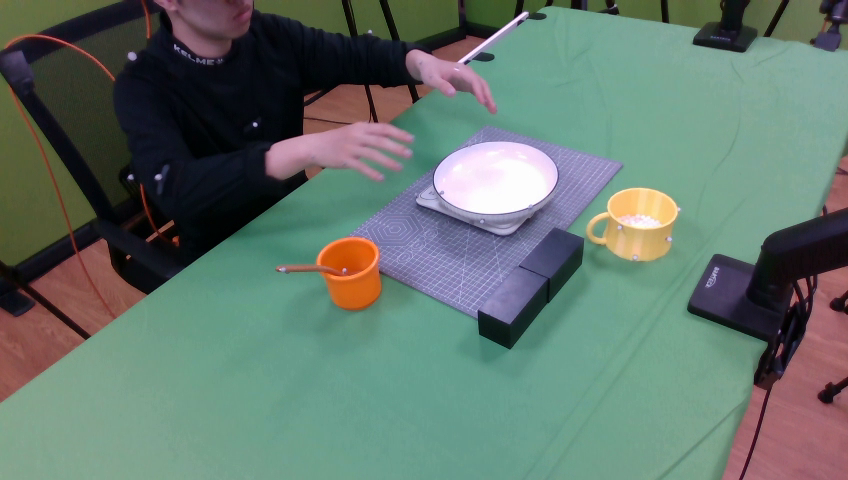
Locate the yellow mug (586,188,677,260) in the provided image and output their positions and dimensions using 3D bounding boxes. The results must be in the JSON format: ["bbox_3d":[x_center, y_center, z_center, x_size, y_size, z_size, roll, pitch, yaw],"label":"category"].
[{"bbox_3d":[0.311,-0.022,0.917,0.131,0.064,0.099,-8,40,0],"label":"yellow mug"}]

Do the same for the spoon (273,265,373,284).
[{"bbox_3d":[-0.137,0.045,0.839,0.041,0.195,0.021,17,90,33],"label":"spoon"}]

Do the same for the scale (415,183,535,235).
[{"bbox_3d":[0.099,-0.080,1.035,0.199,0.032,0.149,23,48,31],"label":"scale"}]

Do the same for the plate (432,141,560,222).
[{"bbox_3d":[0.118,-0.094,0.999,0.209,0.038,0.208,-4,41,4],"label":"plate"}]
